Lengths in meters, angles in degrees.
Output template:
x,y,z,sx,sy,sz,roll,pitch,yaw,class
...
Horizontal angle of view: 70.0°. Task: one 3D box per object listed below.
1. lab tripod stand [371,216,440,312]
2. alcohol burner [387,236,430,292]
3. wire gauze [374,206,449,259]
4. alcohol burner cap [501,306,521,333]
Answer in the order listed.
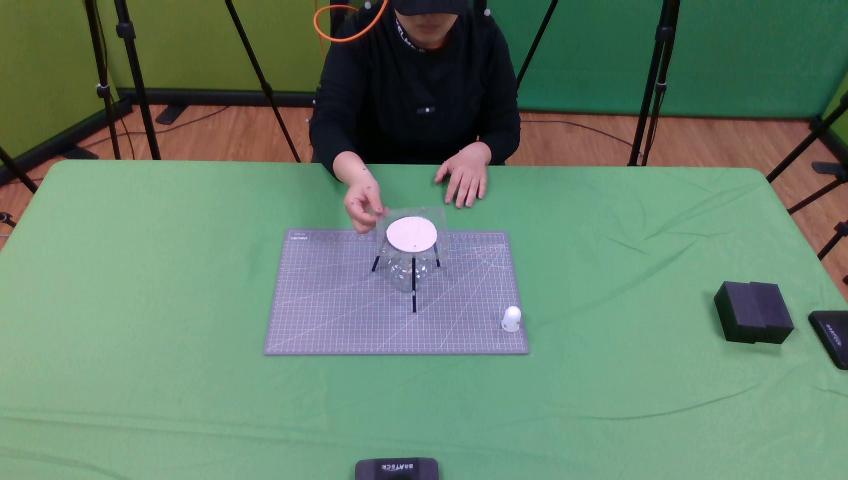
x,y,z,sx,sy,sz,roll,pitch,yaw,class
-0.029,0.033,1.084,0.148,0.132,0.147,1,47,-1,lab tripod stand
-0.028,0.038,1.093,0.078,0.120,0.077,1,46,-1,alcohol burner
-0.023,-0.014,1.035,0.125,0.011,0.120,-1,46,-3,wire gauze
0.155,0.137,1.061,0.034,0.048,0.033,2,45,-1,alcohol burner cap
